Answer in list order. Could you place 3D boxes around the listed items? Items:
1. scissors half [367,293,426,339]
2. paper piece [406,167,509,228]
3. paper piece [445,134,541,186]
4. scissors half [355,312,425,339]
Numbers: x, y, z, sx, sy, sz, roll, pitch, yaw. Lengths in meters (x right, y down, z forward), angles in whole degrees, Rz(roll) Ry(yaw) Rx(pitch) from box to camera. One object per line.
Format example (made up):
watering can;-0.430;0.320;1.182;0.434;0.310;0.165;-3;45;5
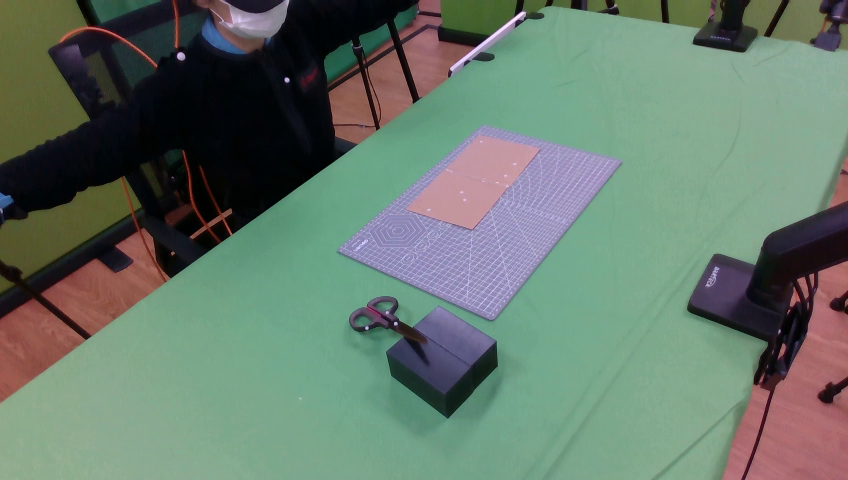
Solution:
scissors half;-0.036;0.102;0.807;0.040;0.013;0.174;-55;27;-5
paper piece;0.059;-0.077;1.055;0.134;0.004;0.136;20;48;27
paper piece;0.130;-0.154;1.137;0.135;0.009;0.138;22;48;25
scissors half;-0.047;0.118;0.802;0.174;0.013;0.040;-5;48;55
